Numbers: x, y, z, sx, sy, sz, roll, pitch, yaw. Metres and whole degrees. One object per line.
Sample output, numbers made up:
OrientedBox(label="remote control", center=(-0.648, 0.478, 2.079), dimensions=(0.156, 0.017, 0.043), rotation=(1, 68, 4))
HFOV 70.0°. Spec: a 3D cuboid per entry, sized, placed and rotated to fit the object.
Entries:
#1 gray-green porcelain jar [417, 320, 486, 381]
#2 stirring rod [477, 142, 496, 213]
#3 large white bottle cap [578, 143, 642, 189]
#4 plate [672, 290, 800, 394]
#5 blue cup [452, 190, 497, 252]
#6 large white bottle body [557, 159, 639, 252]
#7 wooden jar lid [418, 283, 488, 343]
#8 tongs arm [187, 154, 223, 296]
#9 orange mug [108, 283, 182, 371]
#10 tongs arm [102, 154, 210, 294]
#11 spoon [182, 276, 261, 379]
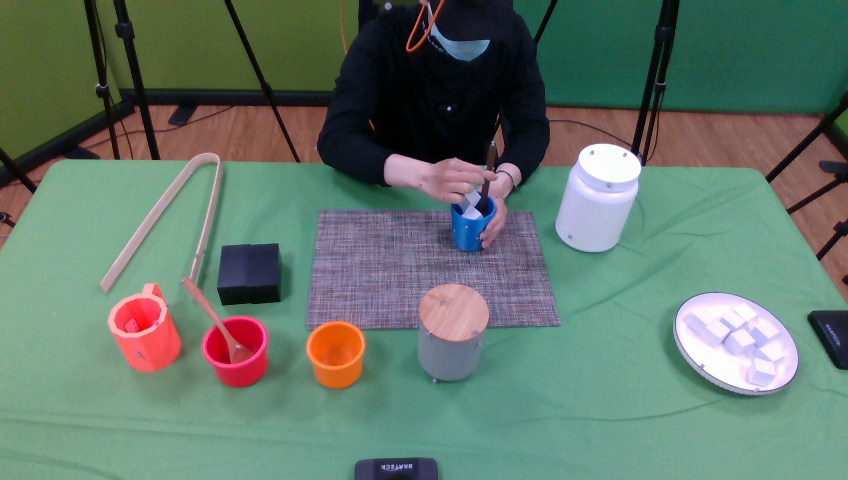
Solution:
OrientedBox(label="gray-green porcelain jar", center=(0.042, 0.158, 0.975), dimensions=(0.106, 0.127, 0.105), rotation=(2, 46, -2))
OrientedBox(label="stirring rod", center=(0.114, -0.107, 1.134), dimensions=(0.014, 0.177, 0.006), rotation=(-10, 45, -17))
OrientedBox(label="large white bottle cap", center=(0.344, -0.139, 1.123), dimensions=(0.115, 0.018, 0.114), rotation=(2, 46, -2))
OrientedBox(label="plate", center=(0.533, 0.179, 1.050), dimensions=(0.208, 0.039, 0.206), rotation=(2, 46, -2))
OrientedBox(label="blue cup", center=(0.091, -0.031, 1.175), dimensions=(0.093, 0.101, 0.092), rotation=(3, 45, -3))
OrientedBox(label="large white bottle body", center=(0.340, -0.081, 1.184), dimensions=(0.131, 0.185, 0.130), rotation=(2, 46, -2))
OrientedBox(label="wooden jar lid", center=(0.045, 0.114, 0.931), dimensions=(0.108, 0.021, 0.107), rotation=(2, 49, -2))
OrientedBox(label="tongs arm", center=(-0.442, -0.044, 1.199), dimensions=(0.051, 0.027, 0.382), rotation=(-4, 46, 1))
OrientedBox(label="orange mug", center=(-0.445, 0.134, 0.982), dimensions=(0.083, 0.101, 0.125), rotation=(-1, 50, -5))
OrientedBox(label="tongs arm", center=(-0.524, -0.046, 1.203), dimensions=(0.028, 0.028, 0.385), rotation=(4, 45, 13))
OrientedBox(label="spoon", center=(-0.321, 0.137, 0.957), dimensions=(0.041, 0.021, 0.194), rotation=(-36, 102, -33))
